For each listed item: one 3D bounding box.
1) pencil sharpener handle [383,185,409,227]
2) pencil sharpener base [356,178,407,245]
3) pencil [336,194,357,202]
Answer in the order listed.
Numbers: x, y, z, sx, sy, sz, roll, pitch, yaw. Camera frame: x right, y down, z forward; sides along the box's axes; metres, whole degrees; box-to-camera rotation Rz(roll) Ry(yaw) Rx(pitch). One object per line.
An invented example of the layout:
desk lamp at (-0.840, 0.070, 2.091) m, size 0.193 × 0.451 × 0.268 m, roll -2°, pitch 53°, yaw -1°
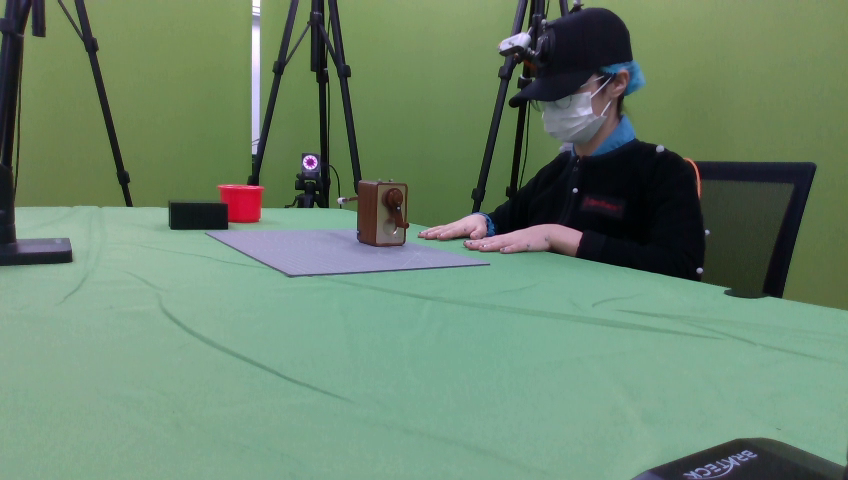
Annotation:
pencil sharpener handle at (-0.040, -0.055, 0.976) m, size 0.036 × 0.068 × 0.030 m, roll -19°, pitch 17°, yaw -29°
pencil sharpener base at (-0.071, -0.049, 1.018) m, size 0.062 × 0.107 × 0.076 m, roll -2°, pitch 9°, yaw -32°
pencil at (-0.122, -0.080, 1.103) m, size 0.012 × 0.012 × 0.193 m, roll -2°, pitch 0°, yaw -29°
